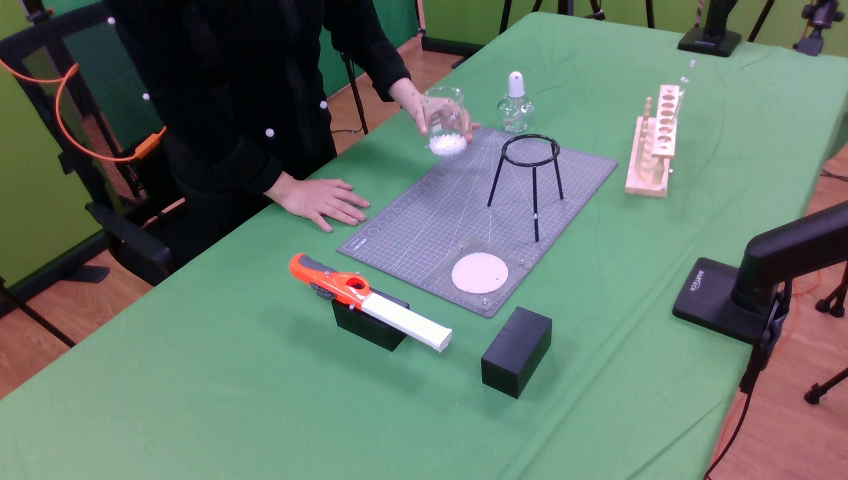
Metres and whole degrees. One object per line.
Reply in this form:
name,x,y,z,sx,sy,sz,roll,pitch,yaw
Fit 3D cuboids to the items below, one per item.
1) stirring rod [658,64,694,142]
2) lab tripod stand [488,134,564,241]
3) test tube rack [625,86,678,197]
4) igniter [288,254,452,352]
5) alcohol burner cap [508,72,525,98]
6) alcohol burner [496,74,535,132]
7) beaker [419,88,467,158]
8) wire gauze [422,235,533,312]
stirring rod,0.409,-0.213,1.000,0.006,0.176,0.014,37,57,25
lab tripod stand,0.168,-0.092,0.972,0.148,0.132,0.147,-5,41,5
test tube rack,0.412,-0.184,1.088,0.066,0.085,0.242,9,43,18
igniter,-0.083,0.079,0.818,0.274,0.025,0.057,23,46,27
alcohol burner cap,0.181,-0.306,1.186,0.034,0.048,0.033,-7,39,6
alcohol burner,0.184,-0.278,1.210,0.078,0.119,0.077,-3,42,3
beaker,0.037,-0.200,1.035,0.084,0.101,0.073,-35,46,-28
wire gauze,0.081,0.049,0.914,0.120,0.011,0.125,26,52,32
